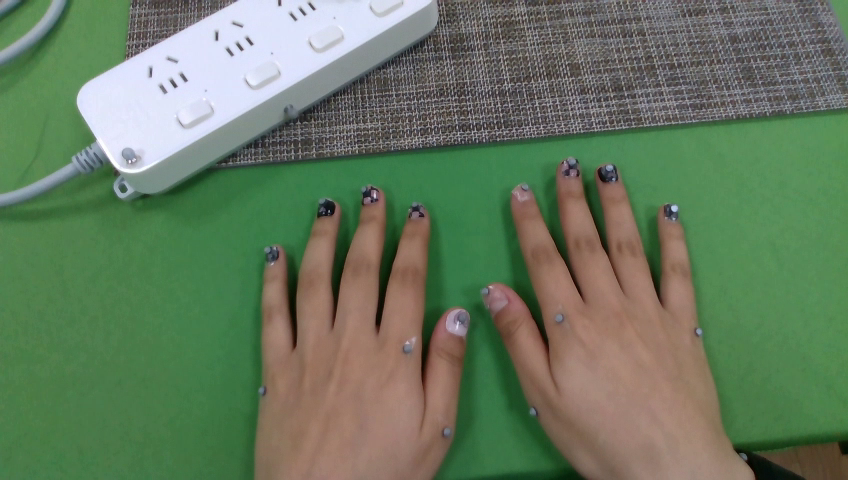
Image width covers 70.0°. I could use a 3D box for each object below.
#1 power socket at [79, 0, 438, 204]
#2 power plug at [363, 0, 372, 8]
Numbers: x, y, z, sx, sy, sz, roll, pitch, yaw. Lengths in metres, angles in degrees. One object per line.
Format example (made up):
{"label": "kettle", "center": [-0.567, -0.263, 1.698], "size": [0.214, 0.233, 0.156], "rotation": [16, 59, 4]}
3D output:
{"label": "power socket", "center": [-0.091, -0.105, 0.358], "size": [0.227, 0.033, 0.071], "rotation": [-34, 72, -12]}
{"label": "power plug", "center": [-0.049, -0.176, 0.362], "size": [0.035, 0.053, 0.072], "rotation": [-24, 72, -8]}
